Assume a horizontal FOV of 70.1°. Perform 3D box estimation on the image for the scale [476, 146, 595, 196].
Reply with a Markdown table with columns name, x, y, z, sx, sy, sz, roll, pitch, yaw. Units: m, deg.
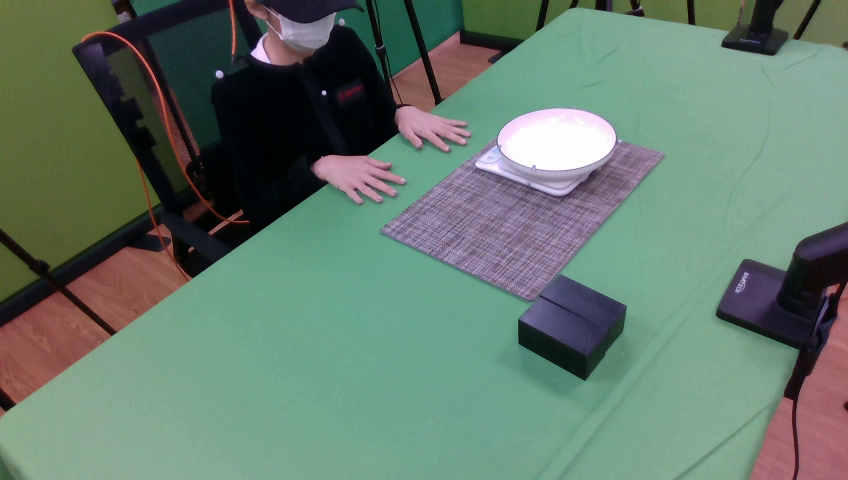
| name | x | y | z | sx | sy | sz | roll | pitch | yaw |
| --- | --- | --- | --- | --- | --- | --- | --- | --- | --- |
| scale | 0.209 | -0.148 | 1.105 | 0.199 | 0.032 | 0.149 | 26 | 50 | 34 |

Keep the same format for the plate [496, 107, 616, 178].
| name | x | y | z | sx | sy | sz | roll | pitch | yaw |
| --- | --- | --- | --- | --- | --- | --- | --- | --- | --- |
| plate | 0.232 | -0.169 | 1.075 | 0.207 | 0.039 | 0.206 | -5 | 41 | 5 |
